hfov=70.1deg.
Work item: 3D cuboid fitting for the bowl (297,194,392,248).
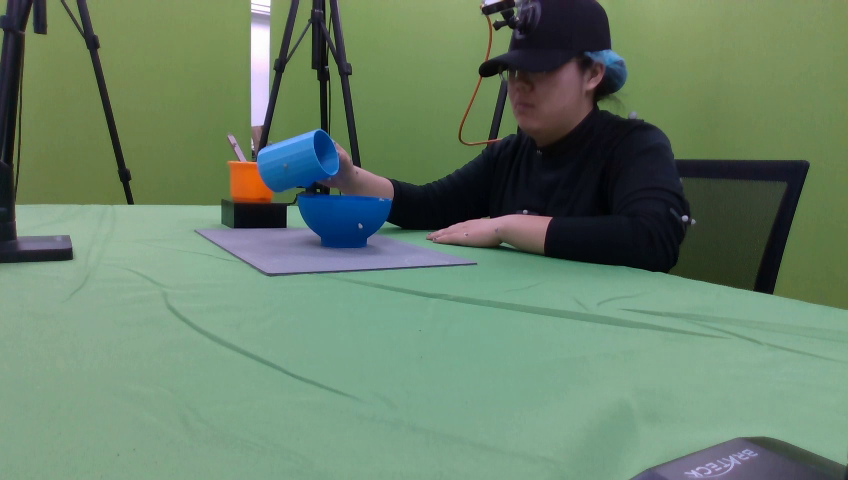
[{"bbox_3d":[-0.127,-0.030,0.964,0.151,0.077,0.151,2,7,0],"label":"bowl"}]

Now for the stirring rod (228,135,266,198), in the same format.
[{"bbox_3d":[-0.352,-0.148,1.198,0.014,0.006,0.175,-6,54,-44],"label":"stirring rod"}]

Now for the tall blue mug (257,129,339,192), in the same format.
[{"bbox_3d":[-0.201,-0.137,0.991,0.107,0.078,0.107,-14,35,21],"label":"tall blue mug"}]
